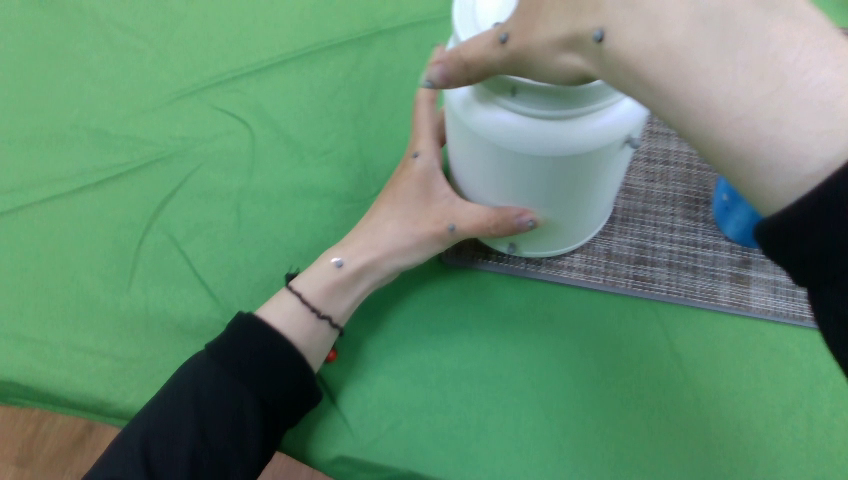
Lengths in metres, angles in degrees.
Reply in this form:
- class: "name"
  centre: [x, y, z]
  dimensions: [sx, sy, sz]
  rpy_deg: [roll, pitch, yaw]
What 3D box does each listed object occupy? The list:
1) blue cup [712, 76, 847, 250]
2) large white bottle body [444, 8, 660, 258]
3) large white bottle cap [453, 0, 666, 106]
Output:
- class: "blue cup"
  centre: [0.248, -0.042, 0.424]
  dimensions: [0.092, 0.101, 0.092]
  rpy_deg: [-2, 61, 5]
- class: "large white bottle body"
  centre: [0.080, -0.082, 0.410]
  dimensions: [0.130, 0.186, 0.129]
  rpy_deg: [-2, 62, 4]
- class: "large white bottle cap"
  centre: [0.073, -0.123, 0.335]
  dimensions: [0.115, 0.018, 0.114]
  rpy_deg: [-2, 62, 4]
